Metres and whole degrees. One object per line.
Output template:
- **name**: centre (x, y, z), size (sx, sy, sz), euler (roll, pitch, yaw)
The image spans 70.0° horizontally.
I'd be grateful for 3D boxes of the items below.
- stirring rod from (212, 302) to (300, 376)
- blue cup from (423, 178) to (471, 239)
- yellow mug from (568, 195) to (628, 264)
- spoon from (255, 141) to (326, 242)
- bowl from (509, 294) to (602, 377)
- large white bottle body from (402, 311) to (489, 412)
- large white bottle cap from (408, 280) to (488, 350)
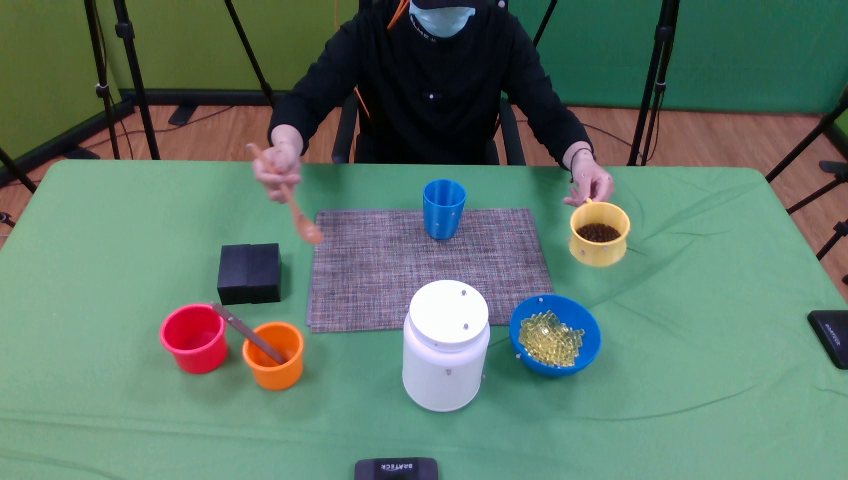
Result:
- **stirring rod**: centre (-0.261, 0.156, 0.948), size (0.177, 0.006, 0.014), euler (45, 45, -20)
- **blue cup**: centre (0.036, -0.056, 1.192), size (0.093, 0.101, 0.092), euler (3, 45, -3)
- **yellow mug**: centre (0.306, -0.027, 1.088), size (0.100, 0.064, 0.130), euler (-11, 49, 3)
- **spoon**: centre (-0.219, -0.079, 0.997), size (0.021, 0.194, 0.041), euler (-18, 17, 34)
- **bowl**: centre (0.211, 0.171, 1.007), size (0.151, 0.077, 0.150), euler (2, 46, -2)
- **large white bottle body**: centre (0.031, 0.163, 0.928), size (0.131, 0.185, 0.130), euler (2, 46, -2)
- **large white bottle cap**: centre (0.034, 0.105, 0.866), size (0.115, 0.018, 0.114), euler (2, 46, -1)
